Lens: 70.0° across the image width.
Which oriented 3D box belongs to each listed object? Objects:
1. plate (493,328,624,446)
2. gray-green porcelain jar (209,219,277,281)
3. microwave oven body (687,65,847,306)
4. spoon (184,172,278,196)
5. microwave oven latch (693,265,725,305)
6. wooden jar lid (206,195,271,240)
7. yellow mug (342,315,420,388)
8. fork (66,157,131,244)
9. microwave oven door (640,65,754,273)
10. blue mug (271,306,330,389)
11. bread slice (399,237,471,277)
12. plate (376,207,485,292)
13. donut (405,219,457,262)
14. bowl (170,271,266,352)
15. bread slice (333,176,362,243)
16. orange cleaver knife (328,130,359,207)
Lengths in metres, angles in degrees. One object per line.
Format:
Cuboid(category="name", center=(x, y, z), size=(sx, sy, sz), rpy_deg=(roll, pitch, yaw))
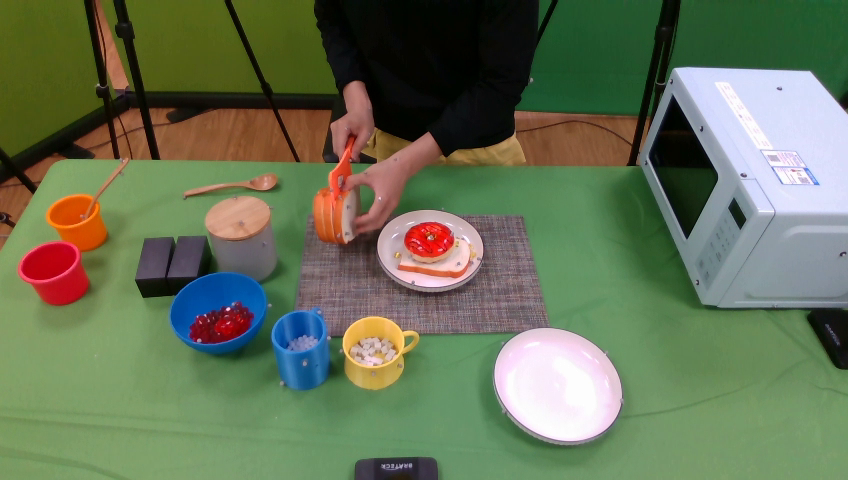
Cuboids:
Cuboid(category="plate", center=(0.213, 0.236, 0.974), size=(0.208, 0.039, 0.206), rpy_deg=(2, 46, -2))
Cuboid(category="gray-green porcelain jar", center=(-0.323, 0.007, 1.092), size=(0.106, 0.127, 0.105), rpy_deg=(2, 46, -2))
Cuboid(category="microwave oven body", center=(0.669, -0.111, 1.176), size=(0.326, 0.261, 0.439), rpy_deg=(0, 46, -3))
Cuboid(category="spoon", center=(-0.405, -0.116, 1.275), size=(0.194, 0.022, 0.041), rpy_deg=(-8, 66, -12))
Cuboid(category="microwave oven latch", center=(0.522, 0.081, 1.115), size=(0.030, 0.029, 0.078), rpy_deg=(2, 46, -1))
Cuboid(category="wooden jar lid", center=(-0.319, -0.036, 1.046), size=(0.108, 0.021, 0.107), rpy_deg=(1, 44, 0))
Cuboid(category="yellow mug", center=(-0.068, 0.177, 0.990), size=(0.131, 0.064, 0.099), rpy_deg=(-15, 50, -19))
Cuboid(category="fork", center=(-0.608, -0.074, 1.132), size=(0.207, 0.019, 0.028), rpy_deg=(-52, 48, 10))
Cuboid(category="microwave oven door", center=(0.523, -0.147, 1.193), size=(0.039, 0.245, 0.353), rpy_deg=(0, 47, -3))
Cuboid(category="blue mug", center=(-0.188, 0.163, 0.969), size=(0.082, 0.106, 0.116), rpy_deg=(15, 47, 10))
Cuboid(category="bread slice", center=(0.026, 0.024, 1.161), size=(0.131, 0.019, 0.104), rpy_deg=(7, 47, 8))
Cuboid(category="plate", center=(0.012, 0.021, 1.159), size=(0.209, 0.038, 0.208), rpy_deg=(2, 47, -2))
Cuboid(category="donut", center=(0.012, -0.001, 1.140), size=(0.099, 0.048, 0.098), rpy_deg=(0, 44, 0))
Cuboid(category="bowl", center=(-0.334, 0.132, 1.006), size=(0.151, 0.077, 0.150), rpy_deg=(2, 46, -2))
Cuboid(category="bread slice", center=(-0.142, -0.051, 1.142), size=(0.018, 0.107, 0.134), rpy_deg=(4, 23, 10))
Cuboid(category="orange cleaver knife", center=(-0.149, -0.139, 1.155), size=(0.012, 0.077, 0.210), rpy_deg=(-1, 37, 11))
